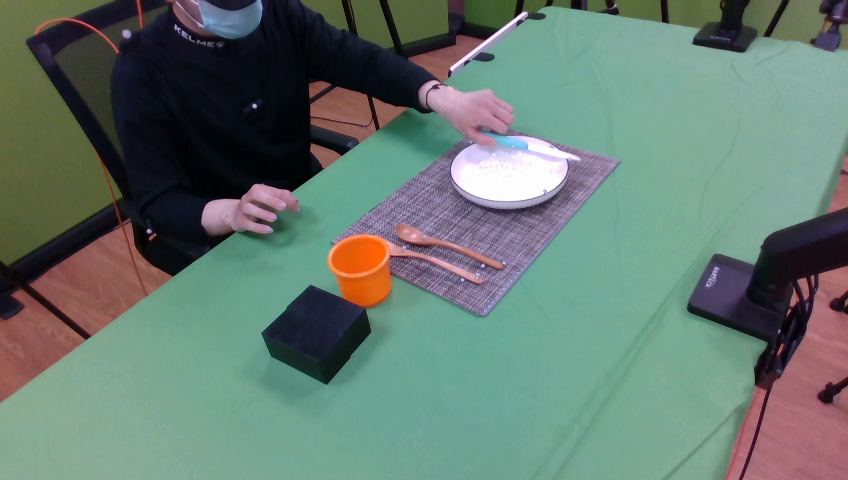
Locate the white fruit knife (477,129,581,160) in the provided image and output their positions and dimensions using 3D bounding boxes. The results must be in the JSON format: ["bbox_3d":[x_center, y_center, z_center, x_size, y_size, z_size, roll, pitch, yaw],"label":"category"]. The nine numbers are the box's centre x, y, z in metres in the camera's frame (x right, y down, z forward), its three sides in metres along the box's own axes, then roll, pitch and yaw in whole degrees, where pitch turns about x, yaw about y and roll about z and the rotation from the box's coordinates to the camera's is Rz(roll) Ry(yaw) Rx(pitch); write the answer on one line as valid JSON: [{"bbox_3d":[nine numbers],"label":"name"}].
[{"bbox_3d":[0.185,-0.171,1.090,0.206,0.016,0.027,18,43,25],"label":"white fruit knife"}]

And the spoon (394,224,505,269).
[{"bbox_3d":[0.037,0.010,0.945,0.192,0.022,0.042,18,28,26],"label":"spoon"}]

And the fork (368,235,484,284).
[{"bbox_3d":[0.001,0.030,0.930,0.206,0.019,0.028,18,40,29],"label":"fork"}]

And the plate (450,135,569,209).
[{"bbox_3d":[0.149,-0.117,1.065,0.209,0.038,0.208,-3,41,3],"label":"plate"}]
